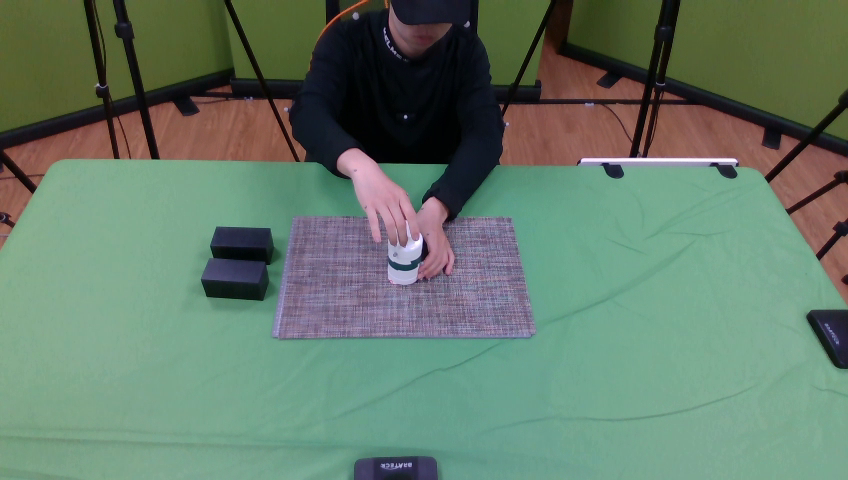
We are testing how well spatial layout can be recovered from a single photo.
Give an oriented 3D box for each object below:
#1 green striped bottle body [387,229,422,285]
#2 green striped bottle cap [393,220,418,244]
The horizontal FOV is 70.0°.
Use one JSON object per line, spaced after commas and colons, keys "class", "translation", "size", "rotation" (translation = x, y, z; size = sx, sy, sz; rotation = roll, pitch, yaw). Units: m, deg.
{"class": "green striped bottle body", "translation": [-0.036, 0.021, 1.102], "size": [0.063, 0.120, 0.063], "rotation": [2, 46, -2]}
{"class": "green striped bottle cap", "translation": [-0.033, -0.014, 1.064], "size": [0.044, 0.020, 0.044], "rotation": [2, 43, -2]}
